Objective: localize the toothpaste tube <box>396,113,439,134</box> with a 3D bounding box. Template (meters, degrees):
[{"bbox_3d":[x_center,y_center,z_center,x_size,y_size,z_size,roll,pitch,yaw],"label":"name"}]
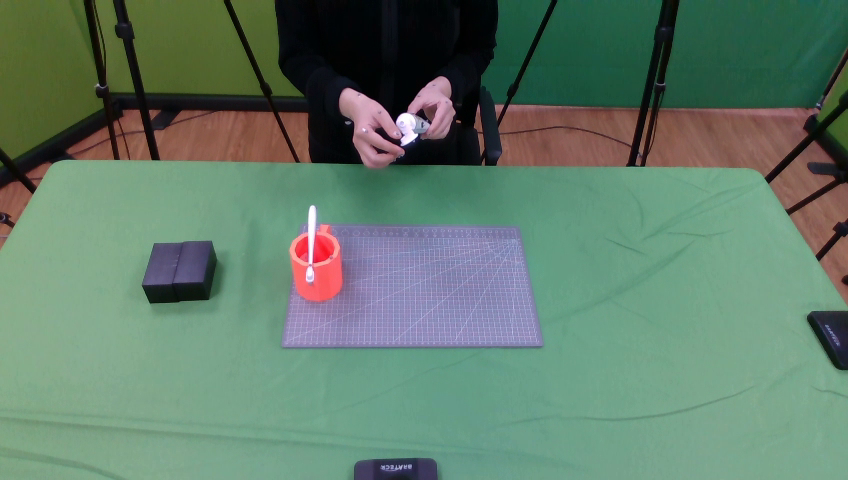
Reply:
[{"bbox_3d":[-0.014,-0.208,1.084,0.055,0.034,0.165,39,19,5],"label":"toothpaste tube"}]

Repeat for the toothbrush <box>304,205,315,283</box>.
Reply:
[{"bbox_3d":[-0.199,0.001,1.052,0.014,0.017,0.180,-4,46,-4],"label":"toothbrush"}]

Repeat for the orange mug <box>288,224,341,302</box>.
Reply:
[{"bbox_3d":[-0.192,0.034,1.094,0.083,0.101,0.125,7,50,2],"label":"orange mug"}]

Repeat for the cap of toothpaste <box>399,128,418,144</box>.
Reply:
[{"bbox_3d":[-0.027,-0.172,1.003,0.037,0.011,0.037,-31,21,14],"label":"cap of toothpaste"}]
